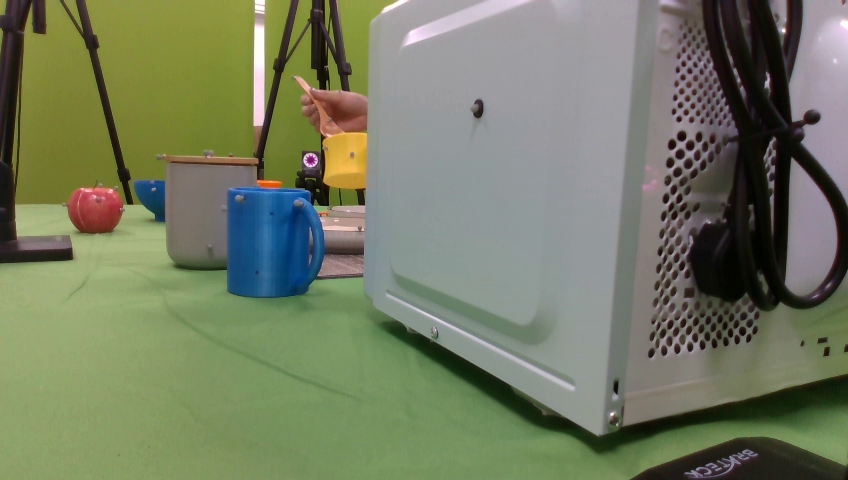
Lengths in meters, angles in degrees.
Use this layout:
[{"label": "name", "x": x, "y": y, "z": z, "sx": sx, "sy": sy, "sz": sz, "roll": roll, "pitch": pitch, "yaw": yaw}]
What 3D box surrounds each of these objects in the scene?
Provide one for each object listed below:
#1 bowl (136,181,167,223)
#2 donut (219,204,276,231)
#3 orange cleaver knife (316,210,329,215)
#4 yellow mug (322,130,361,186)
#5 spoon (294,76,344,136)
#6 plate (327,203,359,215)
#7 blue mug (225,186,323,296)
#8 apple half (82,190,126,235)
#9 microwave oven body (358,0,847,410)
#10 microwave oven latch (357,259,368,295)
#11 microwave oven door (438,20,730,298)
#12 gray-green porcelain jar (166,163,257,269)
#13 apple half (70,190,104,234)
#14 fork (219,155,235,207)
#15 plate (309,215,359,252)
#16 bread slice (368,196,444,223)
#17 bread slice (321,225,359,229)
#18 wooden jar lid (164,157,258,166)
[{"label": "bowl", "x": -0.497, "y": -0.076, "z": 1.221, "sx": 0.151, "sy": 0.077, "sz": 0.151, "roll": 2, "pitch": 8, "yaw": 0}, {"label": "donut", "x": -0.316, "y": -0.039, "z": 1.083, "sx": 0.099, "sy": 0.048, "sz": 0.099, "roll": 3, "pitch": 7, "yaw": 0}, {"label": "orange cleaver knife", "x": -0.259, "y": -0.064, "z": 1.423, "sx": 0.212, "sy": 0.012, "sz": 0.077, "roll": -4, "pitch": 3, "yaw": -30}, {"label": "yellow mug", "x": -0.099, "y": -0.130, "z": 0.954, "sx": 0.130, "sy": 0.064, "sz": 0.100, "roll": -8, "pitch": -10, "yaw": 36}, {"label": "spoon", "x": -0.183, "y": -0.230, "z": 1.037, "sx": 0.042, "sy": 0.021, "sz": 0.193, "roll": -10, "pitch": 52, "yaw": -30}, {"label": "plate", "x": -0.102, "y": -0.053, "z": 1.299, "sx": 0.209, "sy": 0.038, "sz": 0.209, "roll": 2, "pitch": 8, "yaw": 0}, {"label": "blue mug", "x": -0.148, "y": 0.000, "z": 0.618, "sx": 0.116, "sy": 0.106, "sz": 0.083, "roll": 7, "pitch": 9, "yaw": 33}, {"label": "apple half", "x": -0.516, "y": -0.046, "z": 0.994, "sx": 0.032, "sy": 0.081, "sz": 0.081, "roll": 0, "pitch": 6, "yaw": 26}, {"label": "microwave oven body", "x": 0.210, "y": -0.051, "z": 0.471, "sx": 0.444, "sy": 0.260, "sz": 0.324, "roll": -1, "pitch": 7, "yaw": -28}, {"label": "microwave oven latch", "x": -0.019, "y": 0.031, "z": 0.529, "sx": 0.079, "sy": 0.029, "sz": 0.030, "roll": -1, "pitch": 7, "yaw": -26}, {"label": "microwave oven door", "x": 0.181, "y": -0.076, "z": 0.618, "sx": 0.358, "sy": 0.243, "sz": 0.039, "roll": -2, "pitch": 8, "yaw": -28}, {"label": "gray-green porcelain jar", "x": -0.263, "y": -0.031, "z": 0.754, "sx": 0.106, "sy": 0.126, "sz": 0.106, "roll": 2, "pitch": 7, "yaw": 0}, {"label": "apple half", "x": -0.552, "y": -0.048, "z": 1.010, "sx": 0.053, "sy": 0.074, "sz": 0.081, "roll": -1, "pitch": 10, "yaw": 26}, {"label": "fork", "x": -0.459, "y": -0.134, "z": 1.415, "sx": 0.028, "sy": 0.018, "sz": 0.207, "roll": -1, "pitch": -34, "yaw": -25}, {"label": "plate", "x": -0.130, "y": -0.011, "z": 0.945, "sx": 0.208, "sy": 0.039, "sz": 0.207, "roll": 2, "pitch": 8, "yaw": 0}, {"label": "bread slice", "x": -0.040, "y": -0.057, "z": 1.142, "sx": 0.107, "sy": 0.018, "sz": 0.133, "roll": -9, "pitch": -8, "yaw": -39}, {"label": "bread slice", "x": -0.124, "y": -0.008, "z": 0.938, "sx": 0.131, "sy": 0.019, "sz": 0.105, "roll": 4, "pitch": 9, "yaw": 33}, {"label": "wooden jar lid", "x": -0.261, "y": -0.093, "z": 0.746, "sx": 0.108, "sy": 0.020, "sz": 0.108, "roll": 0, "pitch": 9, "yaw": 0}]
